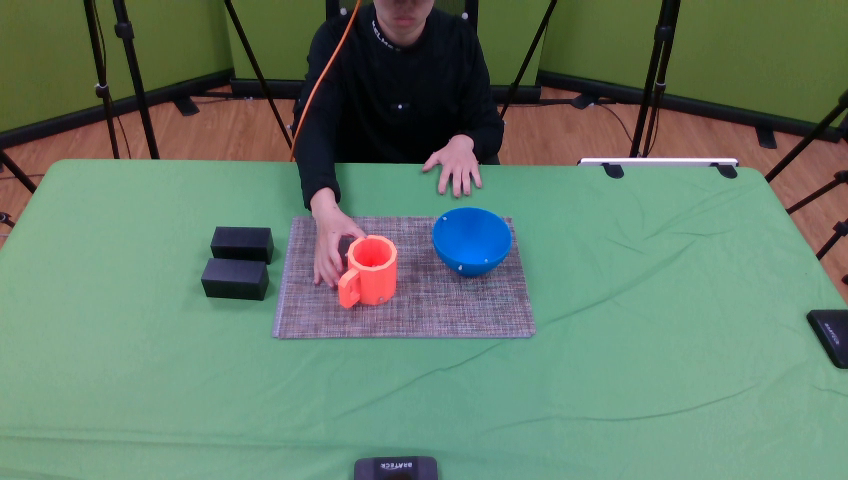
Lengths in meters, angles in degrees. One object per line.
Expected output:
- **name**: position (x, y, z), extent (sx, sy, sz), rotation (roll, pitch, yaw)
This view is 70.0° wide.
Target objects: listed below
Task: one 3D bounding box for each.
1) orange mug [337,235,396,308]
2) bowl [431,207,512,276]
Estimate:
- **orange mug**: position (-0.104, 0.063, 1.073), extent (0.083, 0.101, 0.126), rotation (31, 48, 24)
- **bowl**: position (0.086, 0.016, 1.147), extent (0.151, 0.077, 0.150), rotation (3, 46, -2)
